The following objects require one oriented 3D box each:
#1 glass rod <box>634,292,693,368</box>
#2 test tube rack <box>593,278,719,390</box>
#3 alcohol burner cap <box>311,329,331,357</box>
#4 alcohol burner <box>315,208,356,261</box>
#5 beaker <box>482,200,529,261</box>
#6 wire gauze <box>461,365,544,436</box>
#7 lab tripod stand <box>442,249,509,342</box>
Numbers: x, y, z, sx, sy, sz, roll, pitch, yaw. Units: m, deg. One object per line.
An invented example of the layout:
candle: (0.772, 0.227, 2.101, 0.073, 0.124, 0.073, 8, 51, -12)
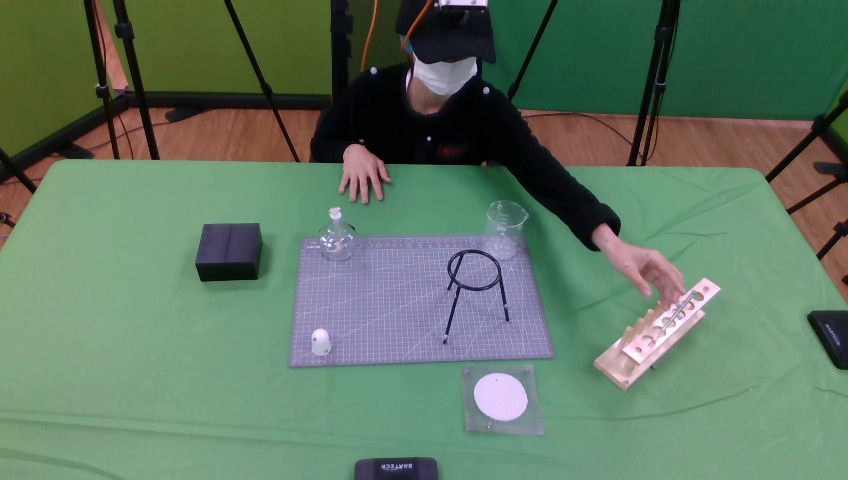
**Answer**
glass rod: (0.370, 0.146, 0.950, 0.008, 0.200, 0.008, 8, 45, -8)
test tube rack: (0.401, 0.148, 1.043, 0.242, 0.085, 0.066, -30, 55, -29)
alcohol burner cap: (-0.173, 0.168, 1.004, 0.034, 0.048, 0.033, 2, 46, -2)
alcohol burner: (-0.166, -0.017, 1.135, 0.078, 0.119, 0.077, 2, 48, -2)
beaker: (0.153, -0.015, 1.169, 0.084, 0.101, 0.073, -2, 46, -7)
wire gauze: (0.124, 0.254, 0.973, 0.125, 0.011, 0.120, 3, 47, -3)
lab tripod stand: (0.082, 0.091, 1.036, 0.148, 0.132, 0.147, 3, 44, -3)
